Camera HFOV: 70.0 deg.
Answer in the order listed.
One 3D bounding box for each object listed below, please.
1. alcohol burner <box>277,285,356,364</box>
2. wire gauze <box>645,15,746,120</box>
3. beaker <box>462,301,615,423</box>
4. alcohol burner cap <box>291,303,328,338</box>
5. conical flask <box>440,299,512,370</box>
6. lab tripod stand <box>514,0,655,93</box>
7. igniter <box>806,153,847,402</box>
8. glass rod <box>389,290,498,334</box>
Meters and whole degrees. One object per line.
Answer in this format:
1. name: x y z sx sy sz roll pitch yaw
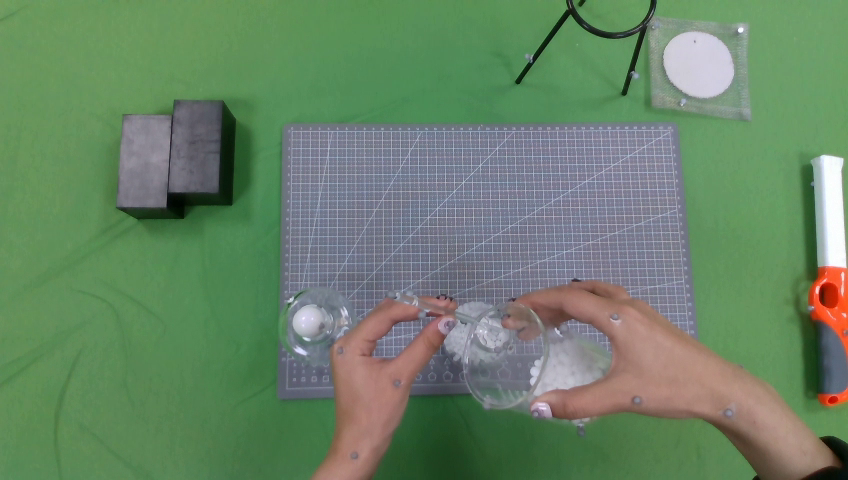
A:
1. alcohol burner: -0.107 0.080 0.587 0.078 0.119 0.077 0 79 0
2. wire gauze: 0.322 -0.207 0.716 0.125 0.011 0.121 5 80 -4
3. beaker: 0.087 0.092 0.449 0.101 0.083 0.074 26 103 -39
4. alcohol burner cap: -0.105 0.073 0.551 0.034 0.048 0.034 1 83 -6
5. conical flask: 0.056 0.090 0.589 0.075 0.122 0.075 1 79 -2
6. lab tripod stand: 0.174 -0.224 0.648 0.148 0.132 0.148 0 82 -2
7. igniter: 0.448 0.038 0.669 0.057 0.025 0.275 7 80 -12
8. glass rod: 0.023 0.060 0.478 0.008 0.201 0.008 -7 72 25
